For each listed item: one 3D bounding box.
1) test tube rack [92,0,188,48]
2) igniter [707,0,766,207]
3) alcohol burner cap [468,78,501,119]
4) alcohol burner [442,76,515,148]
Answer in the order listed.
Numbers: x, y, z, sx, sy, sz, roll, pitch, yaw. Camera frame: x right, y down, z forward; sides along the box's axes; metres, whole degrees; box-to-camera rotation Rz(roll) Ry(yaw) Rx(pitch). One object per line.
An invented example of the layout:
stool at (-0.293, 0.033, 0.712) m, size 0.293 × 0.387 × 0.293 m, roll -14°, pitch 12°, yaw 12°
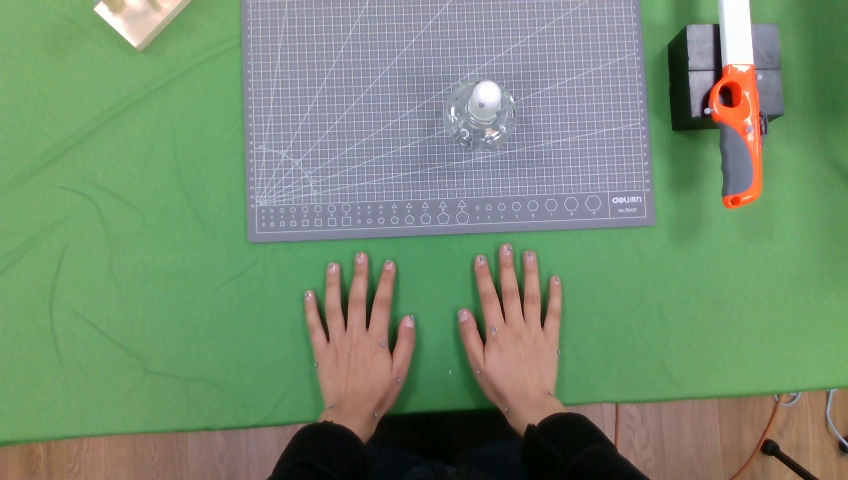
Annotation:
test tube rack at (-0.259, -0.328, 0.643) m, size 0.066 × 0.085 × 0.242 m, roll 43°, pitch 86°, yaw 3°
igniter at (0.323, -0.170, 0.630) m, size 0.057 × 0.025 × 0.275 m, roll 1°, pitch 84°, yaw 1°
alcohol burner cap at (0.060, -0.139, 0.586) m, size 0.034 × 0.048 × 0.034 m, roll 0°, pitch 87°, yaw 3°
alcohol burner at (0.058, -0.136, 0.622) m, size 0.078 × 0.119 × 0.077 m, roll 0°, pitch 84°, yaw -3°
